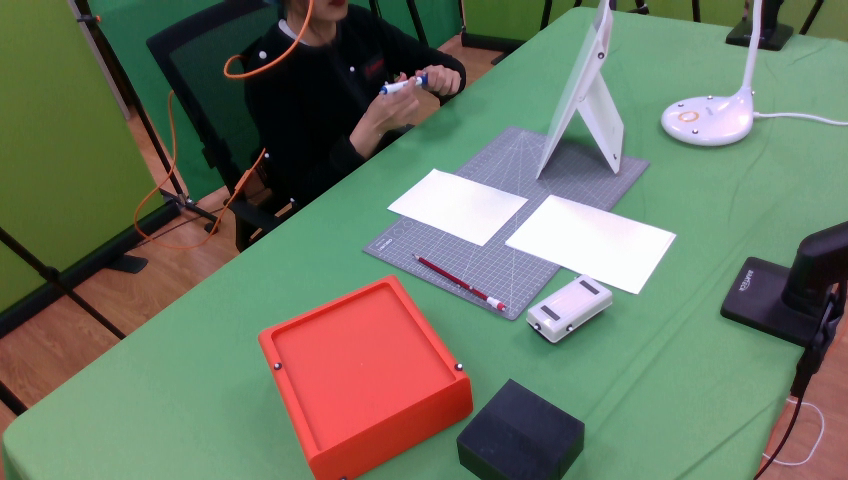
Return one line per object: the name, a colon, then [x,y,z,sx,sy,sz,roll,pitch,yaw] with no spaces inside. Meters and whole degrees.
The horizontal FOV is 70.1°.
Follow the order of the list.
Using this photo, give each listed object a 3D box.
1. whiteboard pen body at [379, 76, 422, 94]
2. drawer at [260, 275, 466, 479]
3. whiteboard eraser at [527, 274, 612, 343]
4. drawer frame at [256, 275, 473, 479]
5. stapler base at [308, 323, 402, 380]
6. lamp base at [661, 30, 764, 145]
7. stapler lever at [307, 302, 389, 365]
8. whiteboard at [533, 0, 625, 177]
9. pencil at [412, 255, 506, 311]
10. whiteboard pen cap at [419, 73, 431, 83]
whiteboard pen body: [-0.038,-0.305,1.178,0.017,0.017,0.141,21,33,31]
drawer: [-0.080,0.163,0.760,0.195,0.073,0.210,-22,42,-16]
whiteboard eraser: [0.198,0.094,0.820,0.113,0.042,0.055,-29,43,-22]
drawer frame: [-0.078,0.164,0.756,0.202,0.083,0.211,-23,43,-17]
stapler base: [-0.094,0.142,0.812,0.131,0.024,0.041,-25,29,-17]
lamp base: [0.535,-0.287,1.096,0.179,0.181,0.159,-10,40,-4]
stapler lever: [-0.101,0.121,0.798,0.118,0.040,0.026,-25,29,-17]
whiteboard: [0.321,-0.258,1.049,0.144,0.306,0.217,20,45,4]
pencil: [0.047,0.060,0.906,0.012,0.012,0.192,-37,46,-29]
whiteboard pen cap: [-0.001,-0.326,1.220,0.018,0.018,0.033,20,34,30]
